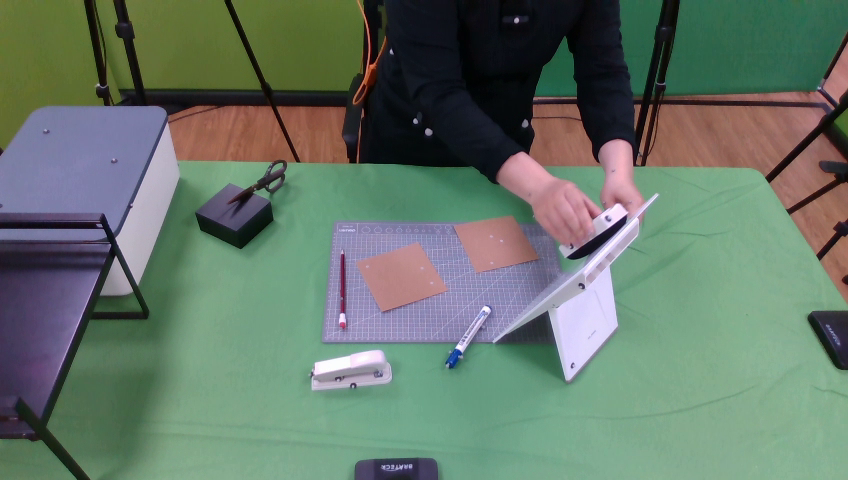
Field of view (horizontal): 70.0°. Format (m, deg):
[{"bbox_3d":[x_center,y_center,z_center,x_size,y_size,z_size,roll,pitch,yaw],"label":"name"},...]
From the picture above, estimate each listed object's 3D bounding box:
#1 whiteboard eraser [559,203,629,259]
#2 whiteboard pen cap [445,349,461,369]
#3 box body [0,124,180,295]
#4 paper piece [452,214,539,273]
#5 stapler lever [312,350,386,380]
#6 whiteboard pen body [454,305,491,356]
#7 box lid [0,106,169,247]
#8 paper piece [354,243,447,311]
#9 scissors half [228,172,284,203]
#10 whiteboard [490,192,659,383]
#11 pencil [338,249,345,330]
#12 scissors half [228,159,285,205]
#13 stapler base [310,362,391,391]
[{"bbox_3d":[0.260,-0.010,0.924,0.055,0.113,0.041,-25,76,-36],"label":"whiteboard eraser"},{"bbox_3d":[0.049,0.197,1.011,0.018,0.018,0.033,23,51,17],"label":"whiteboard pen cap"},{"bbox_3d":[-0.628,-0.075,1.122,0.254,0.161,0.361,1,46,-4],"label":"box body"},{"bbox_3d":[0.141,0.003,1.211,0.135,0.004,0.135,-11,48,-14],"label":"paper piece"},{"bbox_3d":[-0.120,0.199,0.963,0.118,0.040,0.026,-4,44,-8],"label":"stapler lever"},{"bbox_3d":[0.079,0.163,1.047,0.017,0.017,0.140,25,50,19],"label":"whiteboard pen body"},{"bbox_3d":[-0.624,-0.125,1.067,0.263,0.015,0.369,0,46,-3],"label":"box lid"},{"bbox_3d":[-0.045,0.067,1.137,0.136,0.009,0.137,-13,47,-22],"label":"paper piece"},{"bbox_3d":[-0.339,-0.101,1.229,0.013,0.040,0.175,22,28,15],"label":"scissors half"},{"bbox_3d":[0.279,0.100,0.969,0.217,0.306,0.143,-36,79,-33],"label":"whiteboard"},{"bbox_3d":[-0.152,0.085,1.107,0.012,0.012,0.192,-2,44,-7],"label":"pencil"},{"bbox_3d":[-0.335,-0.116,1.217,0.013,0.040,0.175,26,46,12],"label":"scissors half"},{"bbox_3d":[-0.119,0.215,0.980,0.131,0.024,0.041,-5,44,-7],"label":"stapler base"}]
